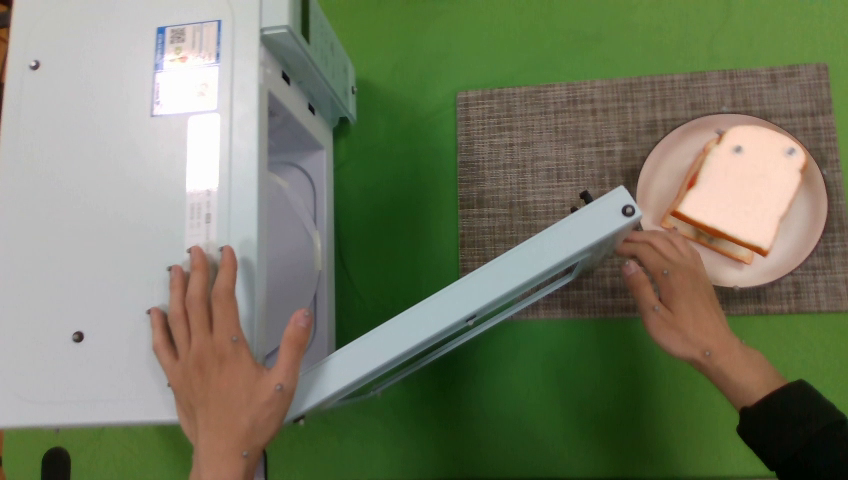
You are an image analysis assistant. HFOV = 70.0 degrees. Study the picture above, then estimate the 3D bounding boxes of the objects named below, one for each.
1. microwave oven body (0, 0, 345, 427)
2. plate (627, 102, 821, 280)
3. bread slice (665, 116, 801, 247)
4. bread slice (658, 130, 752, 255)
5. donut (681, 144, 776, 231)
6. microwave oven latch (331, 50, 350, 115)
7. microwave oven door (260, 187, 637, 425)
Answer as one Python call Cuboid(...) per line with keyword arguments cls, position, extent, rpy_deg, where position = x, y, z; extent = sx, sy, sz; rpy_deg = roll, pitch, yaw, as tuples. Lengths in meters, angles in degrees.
Cuboid(cls="microwave oven body", position=(-0.265, -0.035, 0.681), extent=(0.326, 0.261, 0.440), rpy_deg=(-5, 81, 8))
Cuboid(cls="plate", position=(0.341, -0.055, 0.704), extent=(0.207, 0.039, 0.207), rpy_deg=(-1, 81, 9))
Cuboid(cls="bread slice", position=(0.336, -0.072, 0.649), extent=(0.104, 0.019, 0.131), rpy_deg=(26, 83, 19))
Cuboid(cls="bread slice", position=(0.344, -0.062, 0.704), extent=(0.106, 0.018, 0.134), rpy_deg=(22, 84, 12))
Cuboid(cls="donut", position=(0.338, -0.058, 0.677), extent=(0.099, 0.048, 0.098), rpy_deg=(-2, 81, 10))
Cuboid(cls="microwave oven latch", position=(-0.113, -0.204, 0.784), extent=(0.030, 0.029, 0.079), rpy_deg=(-4, 81, 8))
Cuboid(cls="microwave oven door", position=(0.034, 0.073, 0.613), extent=(0.356, 0.245, 0.039), rpy_deg=(-31, 76, 3))
